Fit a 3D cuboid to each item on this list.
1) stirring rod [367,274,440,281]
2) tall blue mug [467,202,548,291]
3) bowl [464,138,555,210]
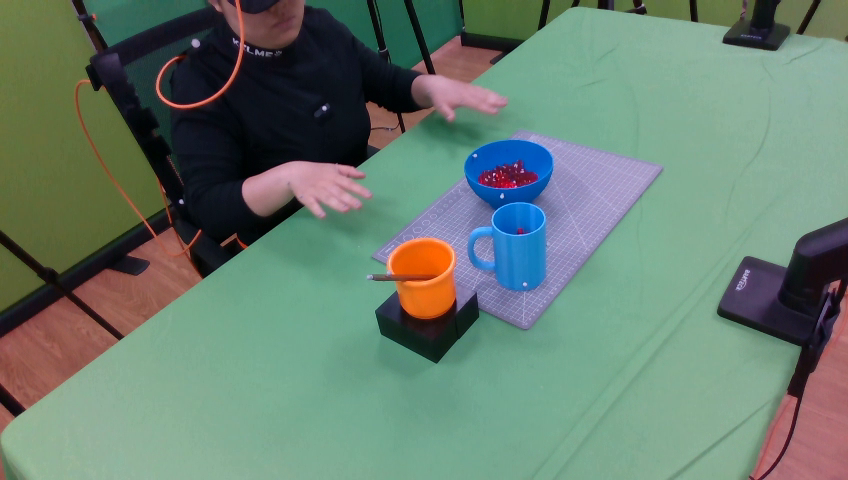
[{"bbox_3d":[-0.021,0.047,0.762,0.014,0.006,0.177,17,5,26],"label":"stirring rod"},{"bbox_3d":[0.125,0.015,0.868,0.107,0.108,0.077,-21,42,-14],"label":"tall blue mug"},{"bbox_3d":[0.145,-0.100,1.025,0.151,0.077,0.150,-5,40,5],"label":"bowl"}]
